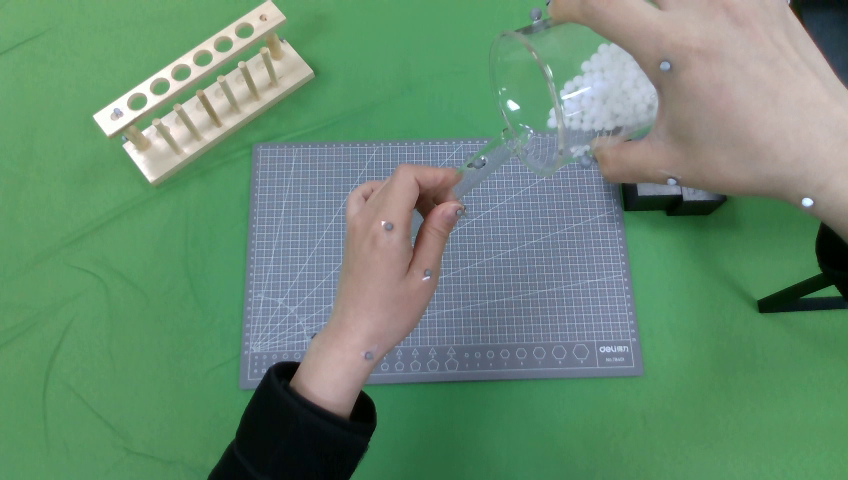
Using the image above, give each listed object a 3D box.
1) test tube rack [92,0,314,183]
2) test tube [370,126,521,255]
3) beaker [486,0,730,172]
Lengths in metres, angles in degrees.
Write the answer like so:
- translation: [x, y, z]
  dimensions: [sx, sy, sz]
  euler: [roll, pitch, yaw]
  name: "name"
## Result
- translation: [-0.256, -0.179, 0.729]
  dimensions: [0.242, 0.085, 0.066]
  euler: [-38, 77, -11]
  name: "test tube rack"
- translation: [0.007, -0.026, 0.391]
  dimensions: [0.017, 0.150, 0.017]
  euler: [20, 53, -29]
  name: "test tube"
- translation: [0.093, -0.085, 0.310]
  dimensions: [0.100, 0.084, 0.073]
  euler: [-22, 78, -9]
  name: "beaker"
